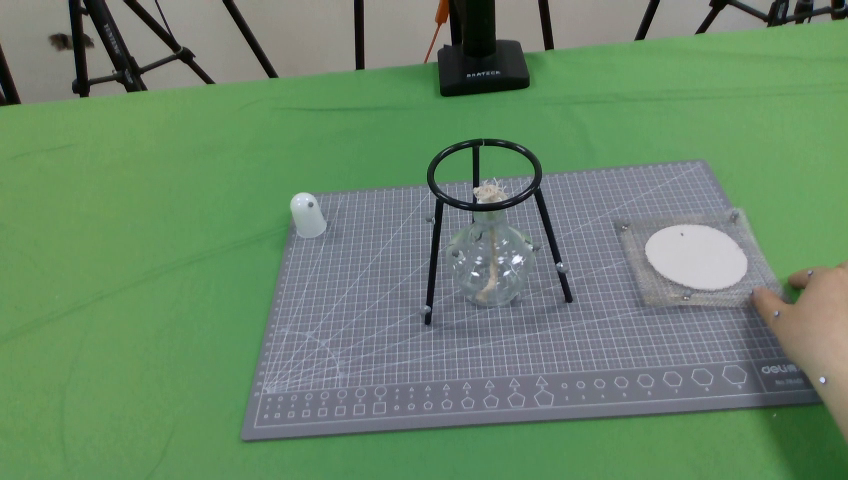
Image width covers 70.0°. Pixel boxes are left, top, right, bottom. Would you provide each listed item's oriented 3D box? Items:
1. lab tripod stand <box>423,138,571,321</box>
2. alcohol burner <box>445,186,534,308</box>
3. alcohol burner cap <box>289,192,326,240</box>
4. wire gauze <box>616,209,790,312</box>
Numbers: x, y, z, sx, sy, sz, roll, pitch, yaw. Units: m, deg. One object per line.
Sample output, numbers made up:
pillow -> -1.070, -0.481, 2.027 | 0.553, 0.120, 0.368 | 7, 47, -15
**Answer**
lab tripod stand -> 0.056, -0.008, 0.511 | 0.148, 0.133, 0.147 | -3, 43, 3
alcohol burner -> 0.056, 0.002, 0.516 | 0.078, 0.120, 0.077 | -3, 43, 3
alcohol burner cap -> -0.122, -0.028, 0.623 | 0.034, 0.048, 0.033 | -3, 45, 3
wire gauze -> 0.248, 0.017, 0.551 | 0.125, 0.011, 0.120 | -1, 44, 4
